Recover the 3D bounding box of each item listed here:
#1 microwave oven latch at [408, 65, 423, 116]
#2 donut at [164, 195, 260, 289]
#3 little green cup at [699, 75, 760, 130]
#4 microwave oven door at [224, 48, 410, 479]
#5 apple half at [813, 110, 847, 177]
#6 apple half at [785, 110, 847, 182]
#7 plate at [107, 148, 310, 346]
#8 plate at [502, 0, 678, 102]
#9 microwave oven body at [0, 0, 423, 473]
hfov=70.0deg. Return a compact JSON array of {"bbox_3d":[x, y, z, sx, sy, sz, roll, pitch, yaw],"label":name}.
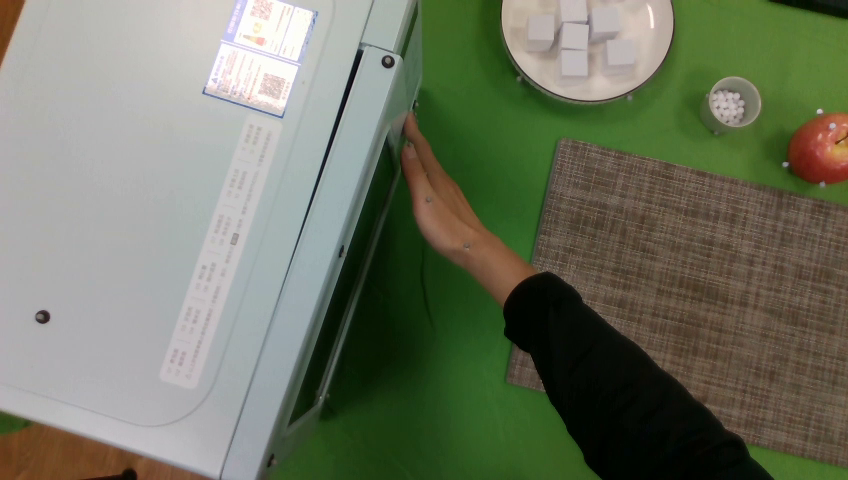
[{"bbox_3d":[-0.023,-0.173,0.704,0.030,0.029,0.079,18,85,1],"label":"microwave oven latch"},{"bbox_3d":[-0.219,0.003,0.629,0.099,0.048,0.099,0,87,1],"label":"donut"},{"bbox_3d":[0.362,-0.162,0.723,0.061,0.039,0.061,0,84,0],"label":"little green cup"},{"bbox_3d":[-0.087,0.026,0.583,0.039,0.244,0.355,18,84,2],"label":"microwave oven door"},{"bbox_3d":[0.490,-0.114,0.701,0.033,0.081,0.081,-13,84,4],"label":"apple half"},{"bbox_3d":[0.451,-0.105,0.701,0.053,0.075,0.080,-12,88,4],"label":"apple half"},{"bbox_3d":[-0.223,0.007,0.643,0.209,0.038,0.208,0,85,0],"label":"plate"},{"bbox_3d":[0.197,-0.264,0.733,0.208,0.039,0.207,0,84,0],"label":"plate"},{"bbox_3d":[-0.217,-0.058,0.597,0.326,0.260,0.441,17,85,1],"label":"microwave oven body"}]
